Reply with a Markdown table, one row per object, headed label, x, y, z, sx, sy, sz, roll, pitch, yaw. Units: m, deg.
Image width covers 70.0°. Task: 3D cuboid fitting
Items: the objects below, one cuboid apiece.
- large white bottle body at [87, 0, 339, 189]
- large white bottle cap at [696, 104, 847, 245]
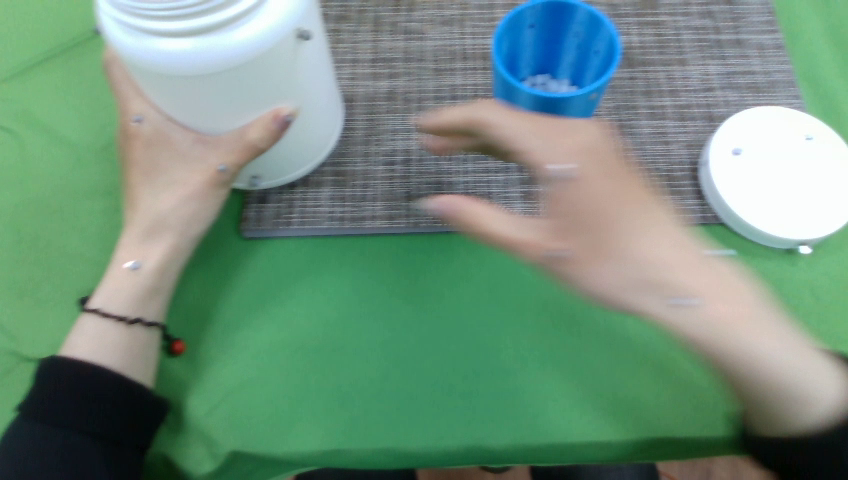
| label | x | y | z | sx | sy | sz | roll | pitch | yaw |
| --- | --- | --- | --- | --- | --- | --- | --- | --- | --- |
| large white bottle body | -0.136 | -0.133 | 0.410 | 0.130 | 0.186 | 0.129 | 0 | 65 | 1 |
| large white bottle cap | 0.267 | -0.052 | 0.461 | 0.115 | 0.018 | 0.114 | 1 | 69 | -2 |
